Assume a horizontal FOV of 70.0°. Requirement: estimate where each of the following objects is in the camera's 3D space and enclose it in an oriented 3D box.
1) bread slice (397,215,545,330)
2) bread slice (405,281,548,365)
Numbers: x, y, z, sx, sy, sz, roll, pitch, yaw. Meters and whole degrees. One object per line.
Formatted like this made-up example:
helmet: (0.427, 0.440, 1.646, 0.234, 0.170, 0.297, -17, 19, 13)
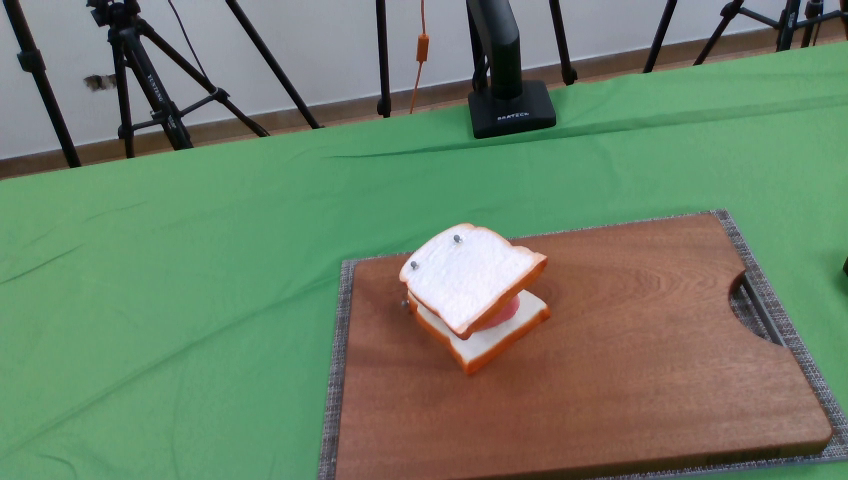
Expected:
bread slice: (0.034, 0.024, 0.578, 0.107, 0.018, 0.133, -41, 36, -17)
bread slice: (0.041, 0.056, 0.610, 0.105, 0.019, 0.130, -32, 47, -21)
